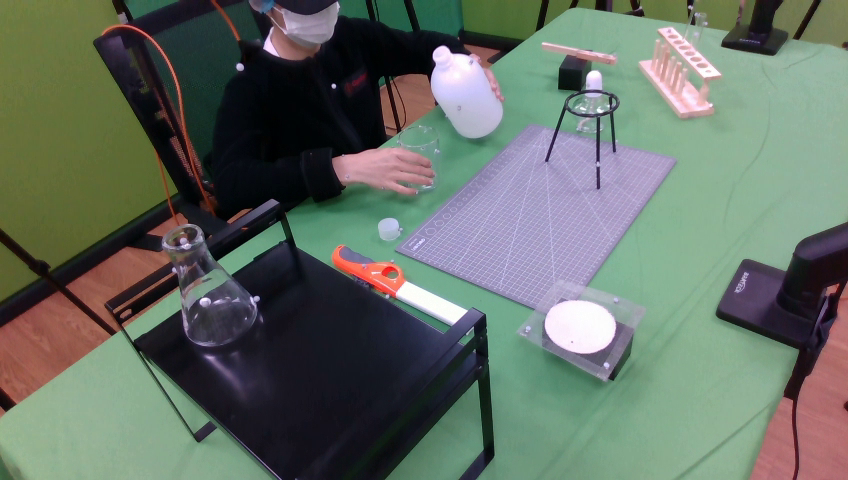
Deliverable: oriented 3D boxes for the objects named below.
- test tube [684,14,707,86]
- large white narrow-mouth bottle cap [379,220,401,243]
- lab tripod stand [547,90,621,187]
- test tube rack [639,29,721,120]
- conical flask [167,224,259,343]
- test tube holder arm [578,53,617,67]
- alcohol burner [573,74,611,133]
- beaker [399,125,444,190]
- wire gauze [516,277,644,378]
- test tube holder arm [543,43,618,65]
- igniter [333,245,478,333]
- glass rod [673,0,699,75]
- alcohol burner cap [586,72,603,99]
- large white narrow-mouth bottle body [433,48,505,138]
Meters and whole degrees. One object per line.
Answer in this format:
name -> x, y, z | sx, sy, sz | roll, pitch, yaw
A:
test tube -> 0.541, -0.379, 1.216 | 0.017, 0.151, 0.017 | -2, 44, 2
large white narrow-mouth bottle cap -> -0.057, -0.015, 1.012 | 0.038, 0.024, 0.037 | -4, 40, 4
lab tripod stand -> 0.289, -0.184, 1.062 | 0.148, 0.132, 0.147 | -6, 41, 6
test tube rack -> 0.527, -0.351, 1.262 | 0.067, 0.085, 0.241 | -8, 40, 1
conical flask -> -0.220, 0.041, 0.613 | 0.075, 0.122, 0.075 | -5, 40, 4
test tube holder arm -> 0.376, -0.393, 1.314 | 0.087, 0.015, 0.010 | 26, 51, 32
alcohol burner -> 0.330, -0.270, 1.176 | 0.078, 0.119, 0.077 | -4, 43, 4
beaker -> -0.001, -0.149, 1.099 | 0.073, 0.100, 0.084 | 8, 42, 17
wire gauze -> 0.197, 0.103, 0.765 | 0.124, 0.011, 0.122 | 23, 50, 31
test tube holder arm -> 0.345, -0.413, 1.340 | 0.177, 0.015, 0.013 | 25, 50, 31
igniter -> -0.038, 0.068, 0.905 | 0.274, 0.025, 0.057 | 24, 60, 32
glass rod -> 0.541, -0.427, 1.246 | 0.008, 0.200, 0.008 | 0, 48, 1
alcohol burner cap -> 0.325, -0.297, 1.154 | 0.034, 0.048, 0.033 | -8, 35, 6
large white narrow-mouth bottle body -> 0.074, -0.282, 1.131 | 0.101, 0.196, 0.101 | -14, 57, 24
